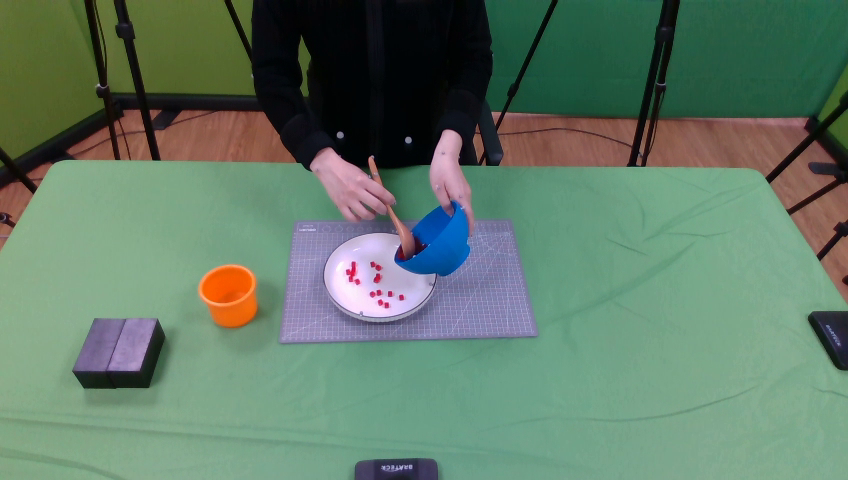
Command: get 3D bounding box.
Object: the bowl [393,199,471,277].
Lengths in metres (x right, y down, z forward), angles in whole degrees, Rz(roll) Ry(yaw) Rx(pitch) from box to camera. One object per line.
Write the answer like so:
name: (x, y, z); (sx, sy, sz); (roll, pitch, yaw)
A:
bowl: (0.027, 0.010, 1.043); (0.077, 0.151, 0.151); (45, 47, -17)

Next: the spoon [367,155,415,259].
spoon: (-0.059, -0.054, 1.038); (0.021, 0.194, 0.041); (-13, 21, 37)

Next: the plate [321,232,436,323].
plate: (-0.083, 0.070, 1.109); (0.209, 0.038, 0.208); (3, 46, -2)
